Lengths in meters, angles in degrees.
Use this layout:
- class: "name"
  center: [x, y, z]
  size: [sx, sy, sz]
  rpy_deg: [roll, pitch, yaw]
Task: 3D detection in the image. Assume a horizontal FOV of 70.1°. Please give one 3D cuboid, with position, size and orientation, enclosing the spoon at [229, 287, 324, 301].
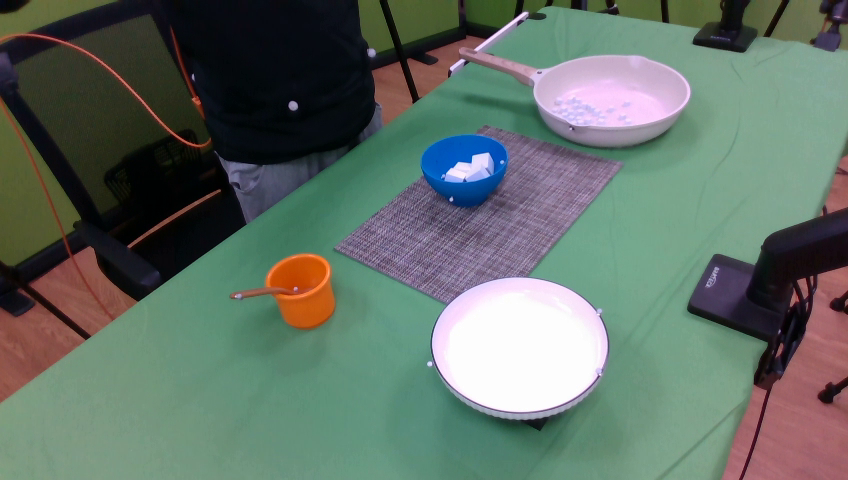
- class: "spoon"
  center: [-0.197, 0.071, 0.817]
  size: [0.041, 0.195, 0.021]
  rpy_deg: [13, 89, 23]

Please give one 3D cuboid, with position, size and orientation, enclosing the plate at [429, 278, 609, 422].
- class: "plate"
  center: [0.111, 0.129, 0.716]
  size: [0.207, 0.039, 0.206]
  rpy_deg: [-5, 39, 4]

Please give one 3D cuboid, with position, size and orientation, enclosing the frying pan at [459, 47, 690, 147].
- class: "frying pan"
  center: [0.280, -0.317, 1.234]
  size: [0.485, 0.103, 0.307]
  rpy_deg: [28, 50, 23]

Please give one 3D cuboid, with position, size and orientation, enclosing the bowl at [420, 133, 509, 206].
- class: "bowl"
  center: [0.071, -0.112, 1.038]
  size: [0.151, 0.077, 0.150]
  rpy_deg: [-4, 40, 4]
